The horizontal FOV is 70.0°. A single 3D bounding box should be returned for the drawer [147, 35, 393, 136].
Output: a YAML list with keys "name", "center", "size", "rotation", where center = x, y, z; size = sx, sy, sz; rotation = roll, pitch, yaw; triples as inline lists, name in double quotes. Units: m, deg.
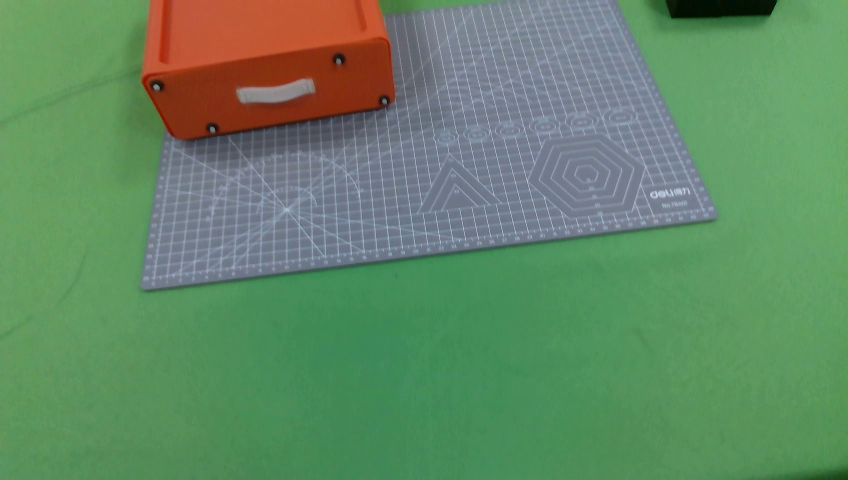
- name: "drawer"
  center: [-0.143, -0.207, 0.566]
  size: [0.195, 0.074, 0.209]
  rotation: [-11, 56, -4]

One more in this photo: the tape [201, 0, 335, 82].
- name: "tape"
  center: [-0.145, -0.208, 0.574]
  size: [0.117, 0.053, 0.116]
  rotation: [0, 58, 1]

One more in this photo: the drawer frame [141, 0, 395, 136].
- name: "drawer frame"
  center: [-0.145, -0.210, 0.567]
  size: [0.202, 0.083, 0.211]
  rotation: [-11, 56, -5]
